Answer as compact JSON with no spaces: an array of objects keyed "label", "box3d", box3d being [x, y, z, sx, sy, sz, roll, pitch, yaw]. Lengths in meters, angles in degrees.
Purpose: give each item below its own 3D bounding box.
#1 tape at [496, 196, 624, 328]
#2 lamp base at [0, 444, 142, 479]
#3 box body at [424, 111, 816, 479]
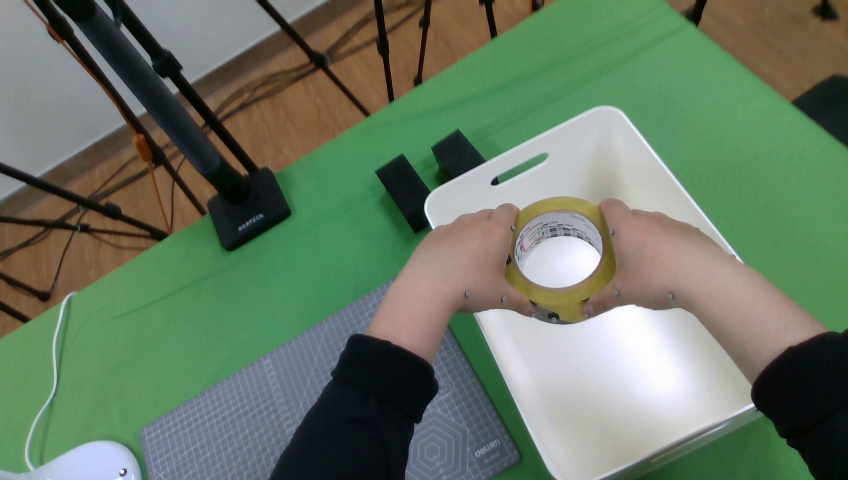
[{"label":"tape","box3d":[0.125,0.019,0.564,0.116,0.053,0.116,-7,61,13]},{"label":"lamp base","box3d":[-0.483,0.318,0.752,0.178,0.182,0.159,2,62,22]},{"label":"box body","box3d":[0.190,0.068,0.682,0.254,0.162,0.360,-27,57,2]}]
